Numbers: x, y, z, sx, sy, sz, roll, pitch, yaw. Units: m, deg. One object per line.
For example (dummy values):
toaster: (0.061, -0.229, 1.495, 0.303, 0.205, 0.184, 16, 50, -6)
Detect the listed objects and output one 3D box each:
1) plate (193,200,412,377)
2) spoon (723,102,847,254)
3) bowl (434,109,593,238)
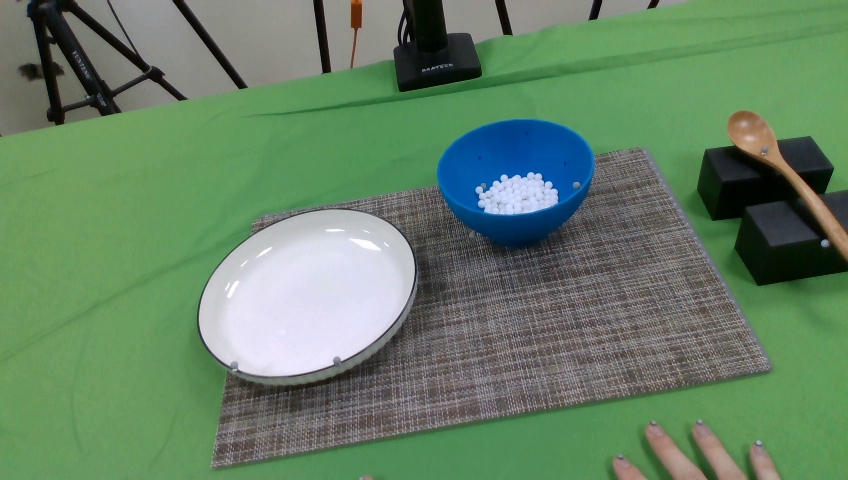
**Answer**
plate: (-0.111, 0.045, 0.578, 0.207, 0.039, 0.205, -6, 45, 6)
spoon: (0.321, -0.059, 0.533, 0.041, 0.022, 0.191, -12, 46, 1)
bowl: (0.089, -0.055, 0.602, 0.151, 0.077, 0.150, -6, 45, 6)
